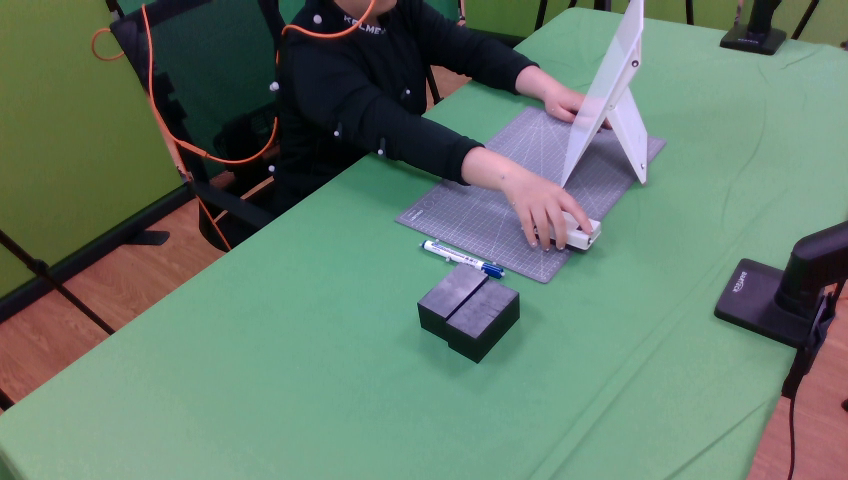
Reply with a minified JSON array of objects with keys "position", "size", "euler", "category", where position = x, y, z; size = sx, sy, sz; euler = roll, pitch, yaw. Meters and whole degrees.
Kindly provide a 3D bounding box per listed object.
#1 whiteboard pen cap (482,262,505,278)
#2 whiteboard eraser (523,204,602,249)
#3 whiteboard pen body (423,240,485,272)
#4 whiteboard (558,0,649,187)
[{"position":[0.104,0.044,0.912],"size":[0.033,0.018,0.018],"euler":[21,48,29],"category":"whiteboard pen cap"},{"position":[0.216,-0.019,0.946],"size":[0.112,0.042,0.056],"euler":[18,41,31],"category":"whiteboard eraser"},{"position":[0.057,0.028,0.942],"size":[0.139,0.017,0.017],"euler":[22,48,30],"category":"whiteboard pen body"},{"position":[0.361,-0.238,1.026],"size":[0.144,0.306,0.217],"euler":[20,44,3],"category":"whiteboard"}]
